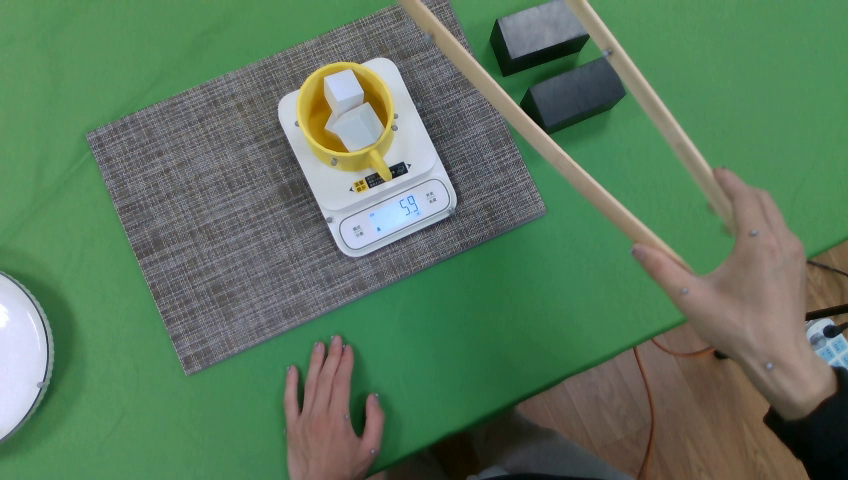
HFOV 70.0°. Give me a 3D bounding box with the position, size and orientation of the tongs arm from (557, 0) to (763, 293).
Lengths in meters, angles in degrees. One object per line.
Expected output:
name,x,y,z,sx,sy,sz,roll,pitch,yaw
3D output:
tongs arm,0.152,-0.126,0.497,0.051,0.026,0.383,-33,80,-11

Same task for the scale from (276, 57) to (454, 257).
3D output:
scale,-0.067,-0.096,0.692,0.149,0.031,0.200,-25,86,-5

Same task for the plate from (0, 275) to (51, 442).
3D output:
plate,-0.503,0.130,0.649,0.208,0.039,0.207,0,84,-3

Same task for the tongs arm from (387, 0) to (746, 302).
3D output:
tongs arm,0.096,-0.086,0.485,0.028,0.028,0.386,-42,81,-16

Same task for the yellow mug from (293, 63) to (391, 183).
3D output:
yellow mug,-0.076,-0.116,0.646,0.100,0.064,0.130,-35,88,-7
